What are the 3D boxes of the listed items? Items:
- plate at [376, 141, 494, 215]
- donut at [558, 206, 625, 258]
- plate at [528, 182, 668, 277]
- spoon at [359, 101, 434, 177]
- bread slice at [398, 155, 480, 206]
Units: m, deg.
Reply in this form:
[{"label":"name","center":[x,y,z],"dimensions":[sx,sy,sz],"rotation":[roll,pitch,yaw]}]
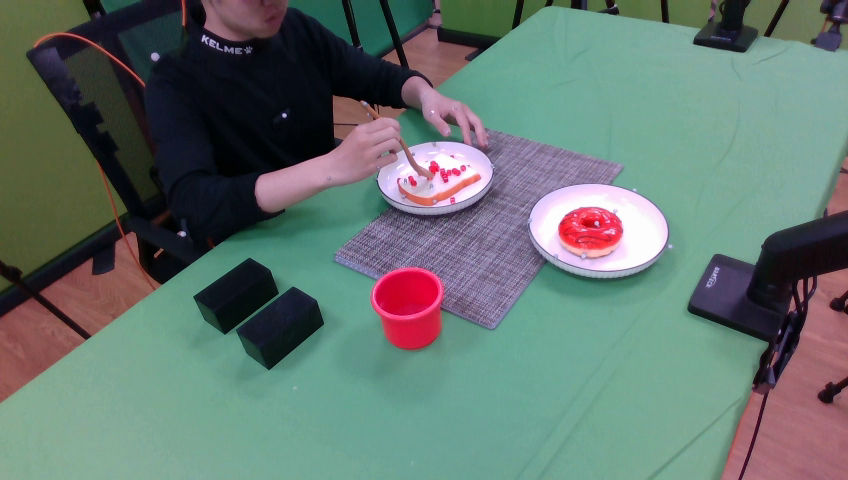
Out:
[{"label":"plate","center":[0.021,-0.106,1.073],"dimensions":[0.209,0.038,0.208],"rotation":[-4,40,4]},{"label":"donut","center":[0.254,-0.015,0.917],"dimensions":[0.099,0.048,0.098],"rotation":[-5,41,5]},{"label":"plate","center":[0.264,-0.014,0.933],"dimensions":[0.207,0.039,0.206],"rotation":[-3,42,3]},{"label":"spoon","center":[-0.043,-0.163,0.991],"dimensions":[0.021,0.195,0.041],"rotation":[-41,39,2]},{"label":"bread slice","center":[0.021,-0.106,1.078],"dimensions":[0.132,0.019,0.104],"rotation":[-31,46,-29]}]
